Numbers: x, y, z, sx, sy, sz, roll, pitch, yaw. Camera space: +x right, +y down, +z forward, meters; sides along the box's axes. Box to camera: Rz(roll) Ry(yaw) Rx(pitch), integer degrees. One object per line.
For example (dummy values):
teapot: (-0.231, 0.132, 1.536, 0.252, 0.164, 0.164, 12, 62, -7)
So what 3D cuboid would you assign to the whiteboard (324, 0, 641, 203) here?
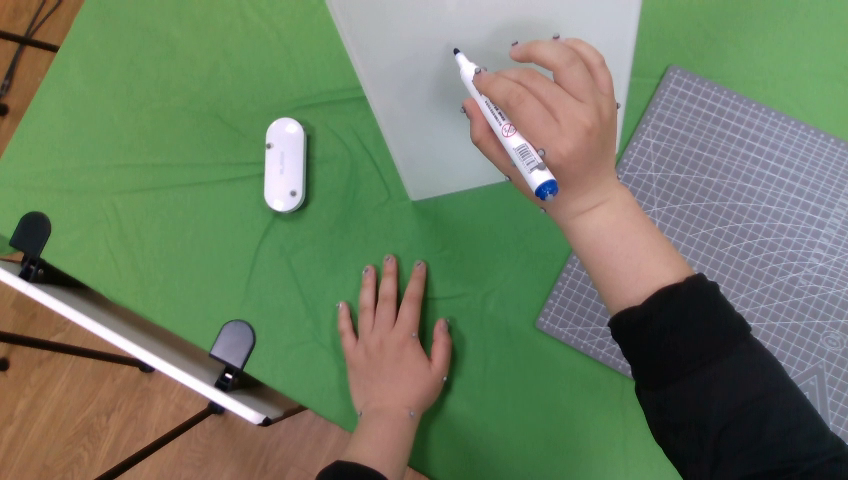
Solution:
whiteboard: (0.051, -0.190, 0.518, 0.217, 0.308, 0.142, -12, 62, 6)

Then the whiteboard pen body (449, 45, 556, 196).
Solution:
whiteboard pen body: (0.047, -0.085, 0.402, 0.017, 0.017, 0.139, -30, 62, 3)

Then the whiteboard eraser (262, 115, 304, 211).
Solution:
whiteboard eraser: (-0.149, -0.082, 0.642, 0.041, 0.019, 0.101, 0, 85, 6)
